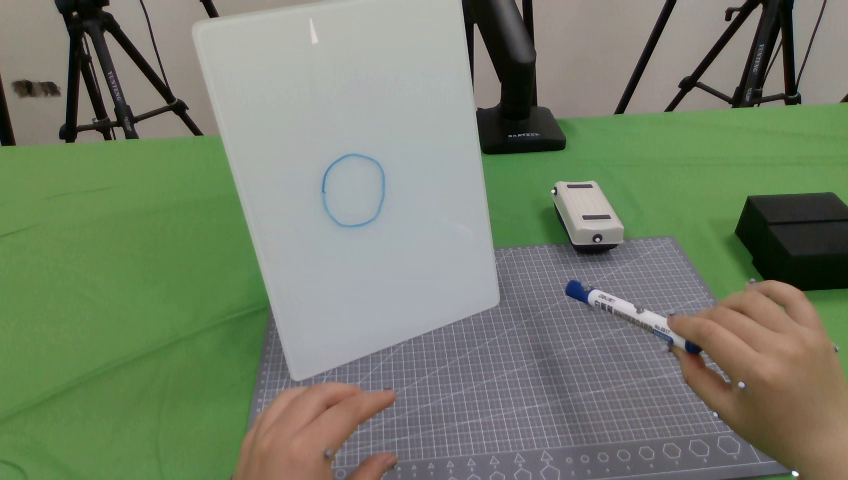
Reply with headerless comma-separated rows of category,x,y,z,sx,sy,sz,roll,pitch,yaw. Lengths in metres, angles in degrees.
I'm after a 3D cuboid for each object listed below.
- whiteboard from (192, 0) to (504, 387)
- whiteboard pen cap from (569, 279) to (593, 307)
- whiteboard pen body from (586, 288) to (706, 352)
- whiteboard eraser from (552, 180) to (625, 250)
whiteboard,-0.069,-0.060,0.572,0.218,0.307,0.142,-18,22,-20
whiteboard pen cap,0.139,0.047,0.538,0.018,0.033,0.018,-1,66,2
whiteboard pen body,0.164,0.058,0.482,0.017,0.017,0.139,-17,19,-20
whiteboard eraser,0.187,-0.029,0.697,0.055,0.042,0.111,-4,34,-1
